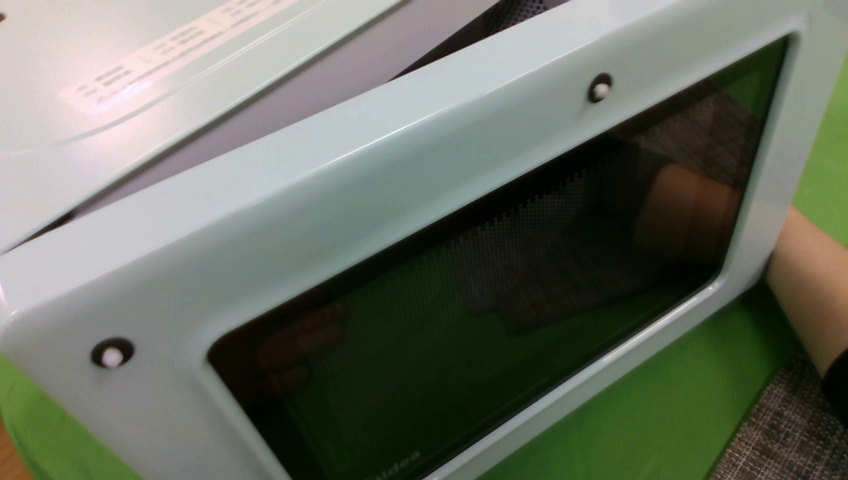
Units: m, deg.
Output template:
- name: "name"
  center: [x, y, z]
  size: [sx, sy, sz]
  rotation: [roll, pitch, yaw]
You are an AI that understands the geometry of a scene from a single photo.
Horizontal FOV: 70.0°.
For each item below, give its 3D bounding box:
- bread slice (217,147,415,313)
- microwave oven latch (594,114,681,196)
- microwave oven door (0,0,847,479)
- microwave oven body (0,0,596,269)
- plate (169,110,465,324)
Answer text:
- name: "bread slice"
  center: [-0.075, -0.019, 0.438]
  size: [0.131, 0.019, 0.104]
  rotation: [-39, 52, -19]
- name: "microwave oven latch"
  center: [0.175, -0.070, 0.496]
  size: [0.079, 0.030, 0.030]
  rotation: [-33, 49, -20]
- name: "microwave oven door"
  center: [0.055, 0.019, 0.285]
  size: [0.356, 0.246, 0.039]
  rotation: [-29, 47, -17]
- name: "microwave oven body"
  center: [-0.062, -0.082, 0.417]
  size: [0.323, 0.263, 0.441]
  rotation: [27, 56, 31]
- name: "plate"
  center: [-0.072, -0.020, 0.432]
  size: [0.209, 0.038, 0.207]
  rotation: [-6, 44, 6]
